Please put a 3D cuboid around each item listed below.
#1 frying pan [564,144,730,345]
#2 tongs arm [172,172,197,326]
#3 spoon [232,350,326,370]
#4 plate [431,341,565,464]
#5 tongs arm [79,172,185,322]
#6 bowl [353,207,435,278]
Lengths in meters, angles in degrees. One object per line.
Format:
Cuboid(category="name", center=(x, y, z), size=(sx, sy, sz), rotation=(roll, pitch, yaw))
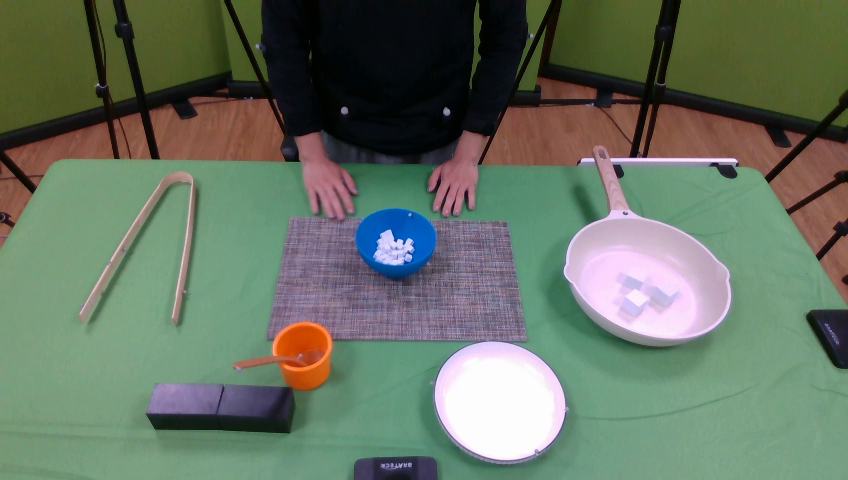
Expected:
Cuboid(category="frying pan", center=(0.396, -0.008, 1.179), size=(0.307, 0.103, 0.484), rotation=(0, 55, -5))
Cuboid(category="tongs arm", center=(-0.459, 0.003, 1.156), size=(0.028, 0.028, 0.385), rotation=(-7, 47, -8))
Cuboid(category="spoon", center=(-0.216, 0.182, 0.919), size=(0.041, 0.194, 0.021), rotation=(43, 102, 27))
Cuboid(category="plate", center=(0.114, 0.255, 0.952), size=(0.208, 0.039, 0.206), rotation=(3, 46, -2))
Cuboid(category="tongs arm", center=(-0.540, -0.002, 1.147), size=(0.051, 0.026, 0.382), rotation=(6, 45, -1))
Cuboid(category="bowl", center=(-0.056, 0.018, 1.132), size=(0.151, 0.077, 0.150), rotation=(2, 46, -2))
